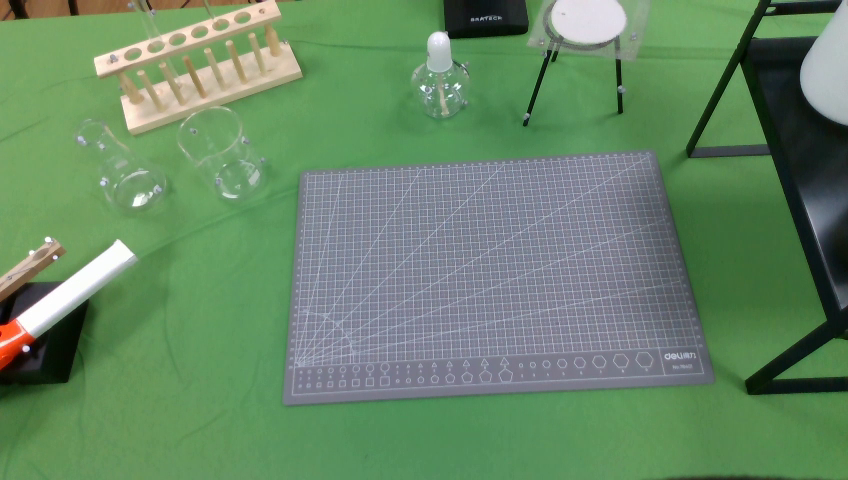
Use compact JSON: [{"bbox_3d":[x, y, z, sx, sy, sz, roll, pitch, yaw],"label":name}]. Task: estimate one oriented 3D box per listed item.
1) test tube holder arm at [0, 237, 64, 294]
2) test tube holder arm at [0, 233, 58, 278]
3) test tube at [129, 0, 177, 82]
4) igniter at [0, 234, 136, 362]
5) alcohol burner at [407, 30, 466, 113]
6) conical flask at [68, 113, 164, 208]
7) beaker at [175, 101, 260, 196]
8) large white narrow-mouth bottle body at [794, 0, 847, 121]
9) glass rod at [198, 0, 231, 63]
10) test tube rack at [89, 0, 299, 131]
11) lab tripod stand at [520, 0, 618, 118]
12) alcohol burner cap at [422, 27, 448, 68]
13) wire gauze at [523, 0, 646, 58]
[{"bbox_3d":[-0.437,0.031,0.662,0.010,0.015,0.087,40,70,21],"label":"test tube holder arm"},{"bbox_3d":[-0.472,0.057,0.649,0.013,0.015,0.178,38,69,20],"label":"test tube holder arm"},{"bbox_3d":[-0.345,-0.259,0.770,0.017,0.151,0.017,0,59,0],"label":"test tube"},{"bbox_3d":[-0.425,0.093,0.625,0.057,0.025,0.276,38,67,18],"label":"igniter"},{"bbox_3d":[0.016,-0.220,0.772,0.078,0.120,0.077,-1,60,1],"label":"alcohol burner"},{"bbox_3d":[-0.371,-0.098,0.722,0.075,0.123,0.074,-1,62,3],"label":"conical flask"},{"bbox_3d":[-0.245,-0.103,0.732,0.074,0.101,0.083,10,63,9],"label":"beaker"},{"bbox_3d":[0.392,-0.190,0.488,0.102,0.196,0.101,-1,64,2],"label":"large white narrow-mouth bottle body"},{"bbox_3d":[-0.283,-0.301,0.769,0.008,0.202,0.008,-5,56,7],"label":"glass rod"},{"bbox_3d":[-0.301,-0.237,0.812,0.242,0.086,0.066,-22,63,-9],"label":"test tube rack"},{"bbox_3d":[0.185,-0.230,0.757,0.148,0.132,0.147,-1,61,1],"label":"lab tripod stand"},{"bbox_3d":[0.013,-0.238,0.740,0.034,0.048,0.033,-1,61,2],"label":"alcohol burner cap"},{"bbox_3d":[0.189,-0.263,0.697,0.121,0.011,0.124,17,65,9],"label":"wire gauze"}]
